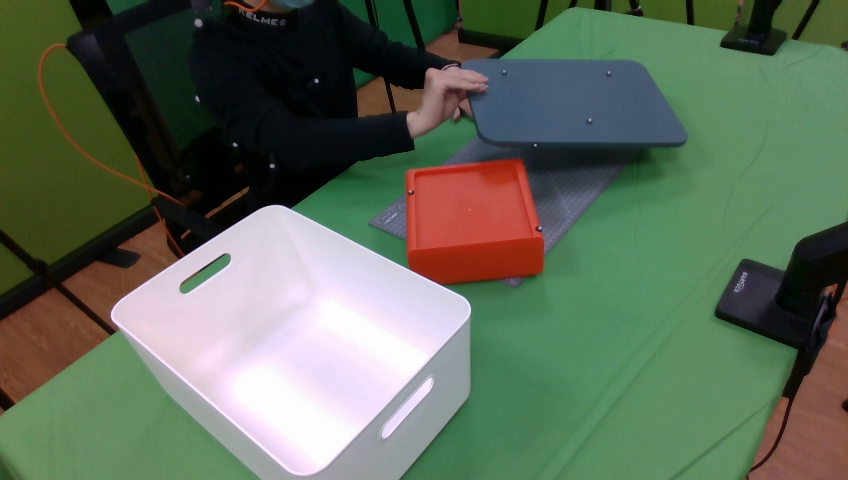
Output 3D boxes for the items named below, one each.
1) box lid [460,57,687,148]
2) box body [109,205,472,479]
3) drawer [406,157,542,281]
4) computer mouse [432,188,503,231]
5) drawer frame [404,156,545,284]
[{"bbox_3d":[0.258,-0.250,1.083,0.373,0.015,0.261,-1,47,-9],"label":"box lid"},{"bbox_3d":[-0.148,0.135,0.726,0.361,0.161,0.255,25,50,32],"label":"box body"},{"bbox_3d":[0.072,-0.037,0.957,0.194,0.073,0.210,-5,41,1],"label":"drawer"},{"bbox_3d":[0.070,-0.051,0.994,0.117,0.041,0.062,-10,44,6],"label":"computer mouse"},{"bbox_3d":[0.073,-0.036,0.953,0.202,0.083,0.212,-6,41,1],"label":"drawer frame"}]
